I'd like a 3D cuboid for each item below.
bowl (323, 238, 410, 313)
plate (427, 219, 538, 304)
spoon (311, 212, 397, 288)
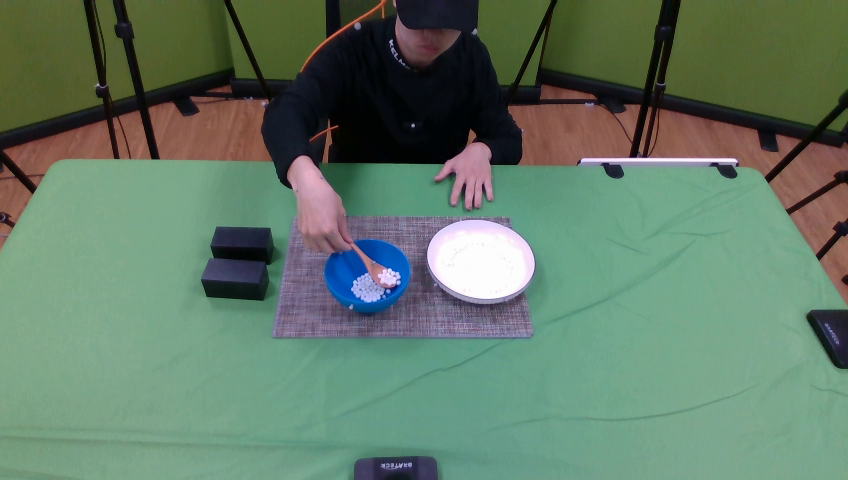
[{"bbox_3d":[-0.101,0.077,1.073,0.151,0.077,0.150,2,46,-2],"label":"bowl"},{"bbox_3d":[0.109,0.044,1.149,0.208,0.039,0.206,2,46,-2],"label":"plate"},{"bbox_3d":[-0.123,0.016,1.063,0.194,0.021,0.041,45,45,-8],"label":"spoon"}]
